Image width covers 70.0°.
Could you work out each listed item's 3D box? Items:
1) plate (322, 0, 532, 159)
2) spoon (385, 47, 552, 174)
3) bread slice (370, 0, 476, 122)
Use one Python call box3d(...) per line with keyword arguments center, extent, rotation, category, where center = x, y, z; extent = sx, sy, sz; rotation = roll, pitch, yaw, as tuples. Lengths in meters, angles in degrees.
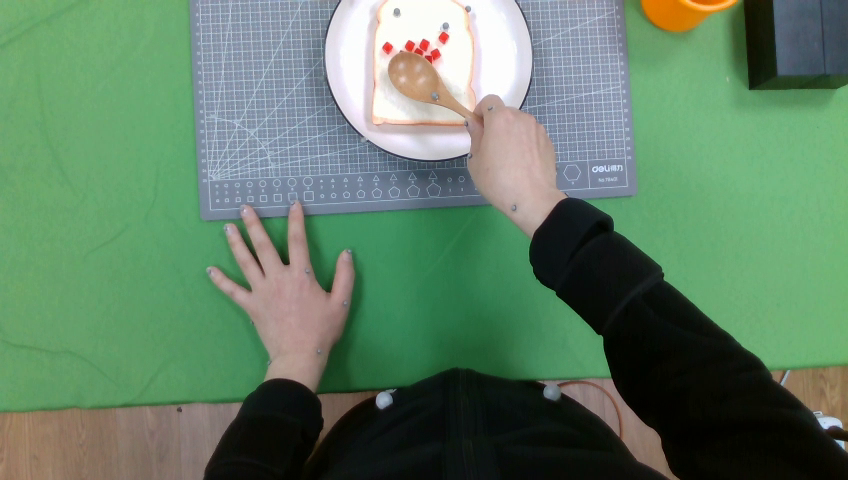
box3d(center=(0.004, -0.182, 0.612), extent=(0.209, 0.038, 0.209), rotation=(0, 88, -3), category="plate")
box3d(center=(0.040, -0.120, 0.569), extent=(0.192, 0.022, 0.041), rotation=(39, 91, 15), category="spoon")
box3d(center=(-0.004, -0.183, 0.613), extent=(0.107, 0.018, 0.134), rotation=(-3, 88, -4), category="bread slice")
